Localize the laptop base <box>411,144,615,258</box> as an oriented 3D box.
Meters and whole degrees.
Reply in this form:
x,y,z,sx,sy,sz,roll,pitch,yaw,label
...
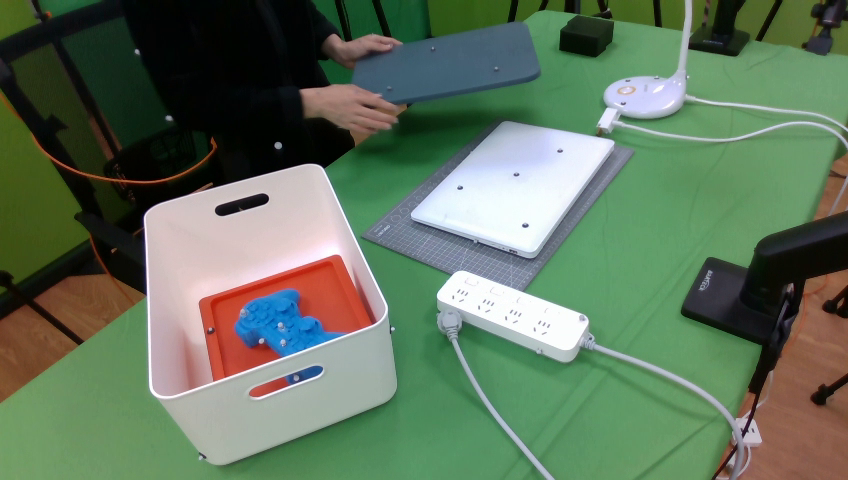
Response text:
x,y,z,sx,sy,sz,roll,pitch,yaw,label
0.167,-0.102,1.074,0.234,0.023,0.355,16,45,30,laptop base

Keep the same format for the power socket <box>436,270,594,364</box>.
x,y,z,sx,sy,sz,roll,pitch,yaw,label
0.118,0.102,0.830,0.225,0.033,0.072,20,48,28,power socket

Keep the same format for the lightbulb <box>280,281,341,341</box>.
x,y,z,sx,sy,sz,roll,pitch,yaw,label
-0.152,0.100,0.825,0.107,0.060,0.060,38,57,26,lightbulb

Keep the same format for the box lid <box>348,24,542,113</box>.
x,y,z,sx,sy,sz,roll,pitch,yaw,label
0.038,-0.345,1.201,0.371,0.015,0.262,-9,40,6,box lid

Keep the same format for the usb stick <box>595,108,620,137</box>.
x,y,z,sx,sy,sz,roll,pitch,yaw,label
0.355,-0.226,1.175,0.027,0.022,0.059,29,85,41,usb stick

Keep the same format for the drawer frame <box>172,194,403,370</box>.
x,y,z,sx,sy,sz,roll,pitch,yaw,label
-0.170,0.080,0.765,0.201,0.214,0.082,-29,18,26,drawer frame

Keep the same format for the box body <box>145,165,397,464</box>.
x,y,z,sx,sy,sz,roll,pitch,yaw,label
-0.205,0.080,0.802,0.255,0.161,0.361,-18,41,-13,box body

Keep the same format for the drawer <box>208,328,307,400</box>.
x,y,z,sx,sy,sz,roll,pitch,yaw,label
-0.171,0.127,0.779,0.195,0.073,0.210,-18,35,-14,drawer

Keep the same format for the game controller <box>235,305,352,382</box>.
x,y,z,sx,sy,sz,roll,pitch,yaw,label
-0.159,0.111,0.734,0.154,0.052,0.097,29,56,35,game controller

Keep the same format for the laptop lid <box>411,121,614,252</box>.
x,y,z,sx,sy,sz,roll,pitch,yaw,label
0.164,-0.112,1.068,0.240,0.013,0.357,19,46,30,laptop lid

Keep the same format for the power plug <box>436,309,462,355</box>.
x,y,z,sx,sy,sz,roll,pitch,yaw,label
0.032,0.126,0.809,0.035,0.053,0.072,3,59,7,power plug

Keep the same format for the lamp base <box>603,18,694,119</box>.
x,y,z,sx,sy,sz,roll,pitch,yaw,label
0.460,-0.355,1.204,0.179,0.181,0.160,2,41,7,lamp base
